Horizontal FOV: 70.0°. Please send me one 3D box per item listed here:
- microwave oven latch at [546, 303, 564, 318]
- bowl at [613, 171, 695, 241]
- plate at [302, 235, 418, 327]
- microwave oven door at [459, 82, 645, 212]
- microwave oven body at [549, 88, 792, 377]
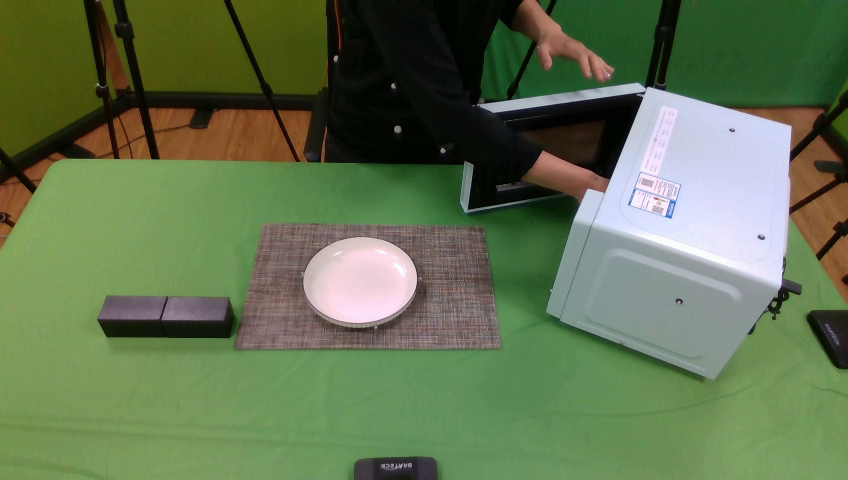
[{"bbox_3d":[0.242,0.102,1.081,0.030,0.029,0.079,21,48,17],"label":"microwave oven latch"},{"bbox_3d":[0.426,-0.051,1.155,0.151,0.077,0.150,3,49,-3],"label":"bowl"},{"bbox_3d":[-0.114,0.077,1.098,0.208,0.039,0.206,2,46,-2],"label":"plate"},{"bbox_3d":[0.253,-0.185,1.217,0.356,0.245,0.039,-11,48,-14],"label":"microwave oven door"},{"bbox_3d":[0.456,-0.028,1.088,0.325,0.261,0.440,20,47,16],"label":"microwave oven body"}]
